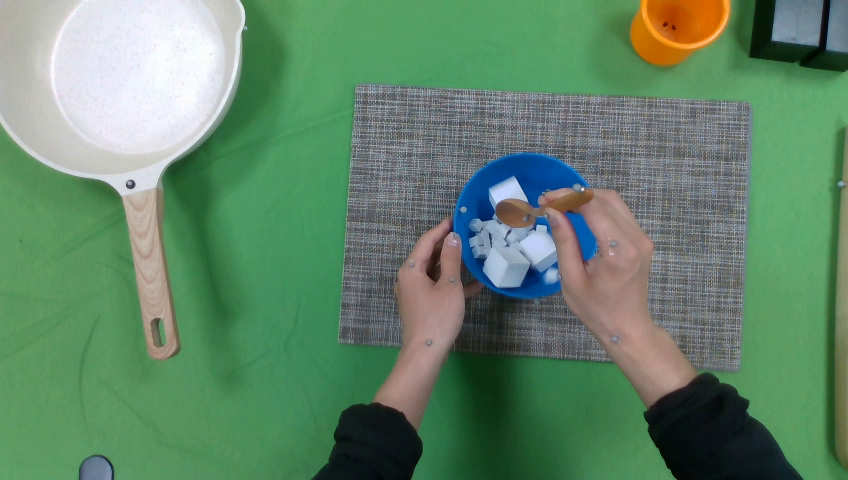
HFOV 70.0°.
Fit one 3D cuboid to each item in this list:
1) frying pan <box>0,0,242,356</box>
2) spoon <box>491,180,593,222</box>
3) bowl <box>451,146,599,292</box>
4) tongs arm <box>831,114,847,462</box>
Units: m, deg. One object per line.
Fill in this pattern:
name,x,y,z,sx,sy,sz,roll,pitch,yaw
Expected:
frying pan,-0.321,-0.112,0.666,0.307,0.103,0.485,-13,79,3
spoon,0.100,-0.032,0.529,0.042,0.193,0.021,35,84,-8
bowl,0.104,-0.019,0.651,0.151,0.077,0.151,0,88,3
tongs arm,0.466,0.053,0.662,0.028,0.028,0.387,2,88,1
